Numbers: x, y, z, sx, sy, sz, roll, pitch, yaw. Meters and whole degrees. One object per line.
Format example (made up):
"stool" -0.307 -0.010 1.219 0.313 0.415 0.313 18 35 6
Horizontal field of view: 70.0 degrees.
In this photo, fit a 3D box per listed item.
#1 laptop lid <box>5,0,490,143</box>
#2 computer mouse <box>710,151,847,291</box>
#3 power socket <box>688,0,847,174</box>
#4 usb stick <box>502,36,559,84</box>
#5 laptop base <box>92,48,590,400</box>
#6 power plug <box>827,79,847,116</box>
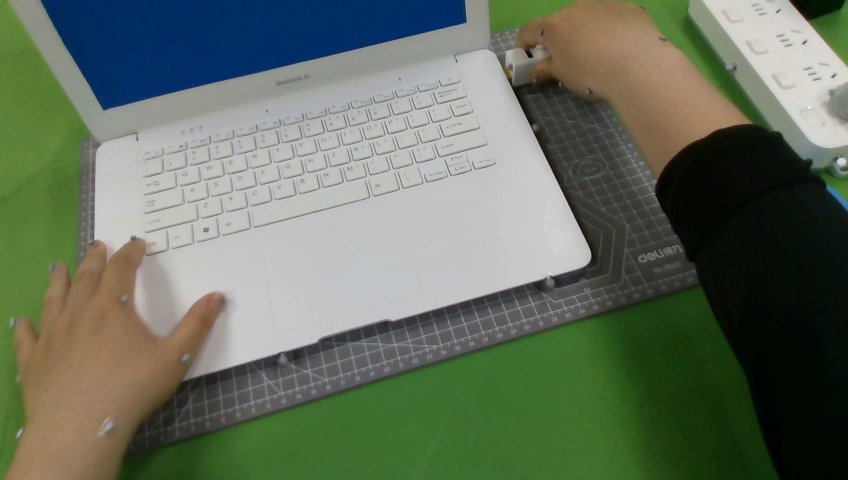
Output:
"laptop lid" -0.126 -0.208 0.452 0.357 0.244 0.013 -16 45 -4
"computer mouse" 0.258 -0.020 0.426 0.063 0.041 0.116 -15 53 -3
"power socket" 0.299 -0.151 0.508 0.072 0.033 0.224 -13 58 -3
"usb stick" 0.085 -0.153 0.522 0.059 0.027 0.021 -17 56 -1
"laptop base" -0.078 -0.030 0.476 0.354 0.023 0.233 -15 61 -5
"power plug" 0.342 -0.108 0.454 0.072 0.053 0.035 -4 60 2
